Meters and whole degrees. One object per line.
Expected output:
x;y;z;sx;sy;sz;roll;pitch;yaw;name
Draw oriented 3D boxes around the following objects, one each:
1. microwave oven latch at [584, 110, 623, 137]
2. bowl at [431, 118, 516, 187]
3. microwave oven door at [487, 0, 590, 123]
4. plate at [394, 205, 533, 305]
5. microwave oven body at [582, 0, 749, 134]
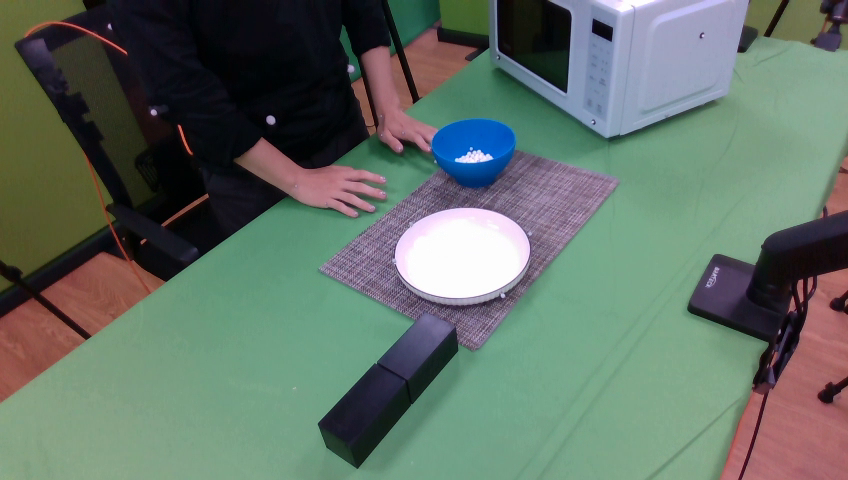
0.337;-0.222;1.142;0.030;0.029;0.078;-21;42;-14;microwave oven latch
0.090;-0.147;1.080;0.151;0.077;0.150;-4;41;4;bowl
0.232;-0.420;1.231;0.039;0.245;0.352;-22;43;-16;microwave oven door
0.059;0.025;0.915;0.207;0.039;0.206;-4;41;4;plate
0.382;-0.444;1.246;0.327;0.261;0.437;-22;42;-16;microwave oven body
